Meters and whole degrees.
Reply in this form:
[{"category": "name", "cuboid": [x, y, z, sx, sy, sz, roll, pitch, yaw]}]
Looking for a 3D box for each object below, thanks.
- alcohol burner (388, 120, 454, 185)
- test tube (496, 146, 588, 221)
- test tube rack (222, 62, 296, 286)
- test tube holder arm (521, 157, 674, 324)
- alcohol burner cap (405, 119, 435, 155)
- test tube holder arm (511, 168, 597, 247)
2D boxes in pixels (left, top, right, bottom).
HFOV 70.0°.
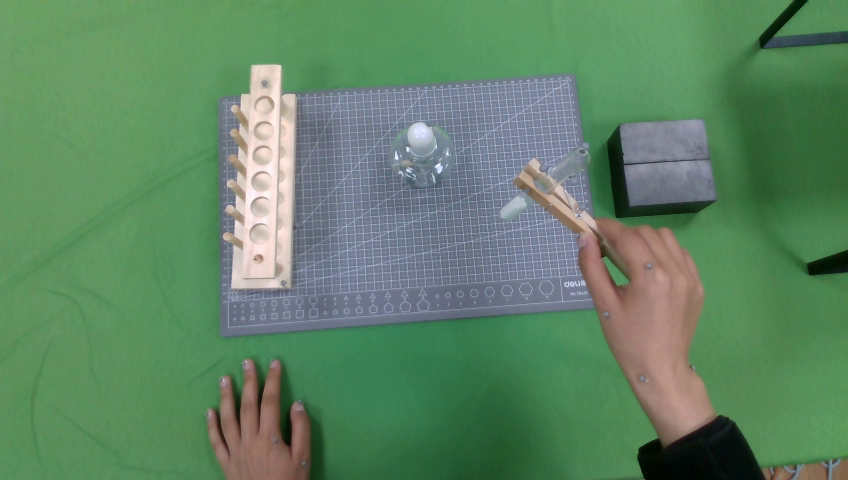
[{"category": "alcohol burner", "cuboid": [-0.004, -0.106, 0.689, 0.078, 0.119, 0.077, 0, 79, 0]}, {"category": "test tube", "cuboid": [0.092, -0.043, 0.504, 0.017, 0.150, 0.017, 4, 75, -15]}, {"category": "test tube rack", "cuboid": [-0.191, -0.072, 0.694, 0.067, 0.085, 0.241, 0, 78, -1]}, {"category": "test tube holder arm", "cuboid": [0.144, 0.001, 0.501, 0.178, 0.015, 0.013, 46, 71, -2]}, {"category": "alcohol burner cap", "cuboid": [-0.005, -0.113, 0.654, 0.034, 0.048, 0.034, 0, 83, 1]}, {"category": "test tube holder arm", "cuboid": [0.108, -0.026, 0.497, 0.088, 0.015, 0.010, 39, 71, -4]}]
